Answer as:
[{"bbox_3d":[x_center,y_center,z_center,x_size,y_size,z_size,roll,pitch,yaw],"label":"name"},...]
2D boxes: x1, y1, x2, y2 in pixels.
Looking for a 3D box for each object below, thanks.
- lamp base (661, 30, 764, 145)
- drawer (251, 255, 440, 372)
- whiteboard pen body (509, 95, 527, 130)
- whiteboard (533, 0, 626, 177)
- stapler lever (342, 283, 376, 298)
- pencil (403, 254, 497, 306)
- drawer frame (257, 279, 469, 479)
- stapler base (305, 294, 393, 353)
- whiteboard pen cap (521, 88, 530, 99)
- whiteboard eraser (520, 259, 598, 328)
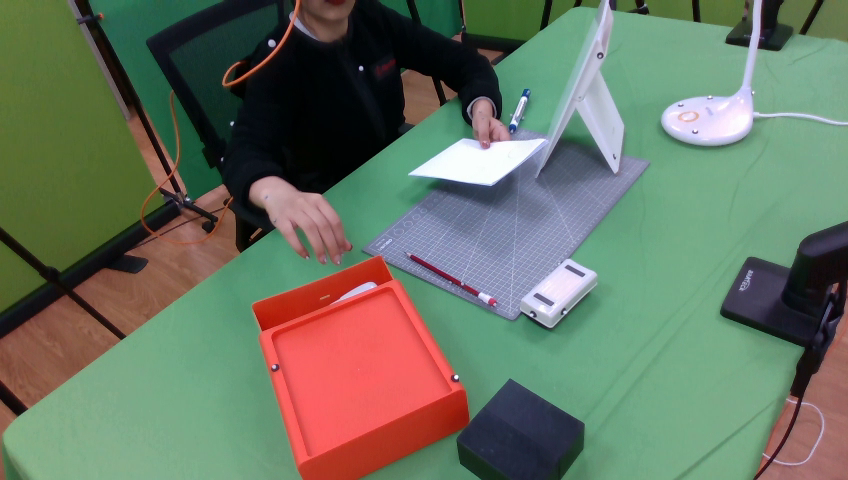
[{"bbox_3d":[0.535,-0.287,1.096,0.179,0.181,0.159,-10,40,-4],"label":"lamp base"},{"bbox_3d":[-0.106,0.135,0.798,0.195,0.073,0.210,-20,42,-14],"label":"drawer"},{"bbox_3d":[0.199,-0.273,1.261,0.017,0.017,0.140,8,45,19],"label":"whiteboard pen body"},{"bbox_3d":[0.321,-0.258,1.050,0.144,0.306,0.217,21,45,5],"label":"whiteboard"},{"bbox_3d":[-0.113,0.098,0.840,0.118,0.040,0.026,-25,46,-12],"label":"stapler lever"},{"bbox_3d":[0.034,0.056,0.914,0.192,0.012,0.012,27,52,38],"label":"pencil"},{"bbox_3d":[-0.080,0.169,0.751,0.202,0.083,0.211,-21,42,-15],"label":"drawer frame"},{"bbox_3d":[-0.108,0.111,0.857,0.131,0.024,0.041,-27,46,-9],"label":"stapler base"},{"bbox_3d":[0.218,-0.312,1.301,0.018,0.018,0.033,6,47,17],"label":"whiteboard pen cap"},{"bbox_3d":[0.189,0.076,0.843,0.055,0.042,0.113,29,53,37],"label":"whiteboard eraser"}]
